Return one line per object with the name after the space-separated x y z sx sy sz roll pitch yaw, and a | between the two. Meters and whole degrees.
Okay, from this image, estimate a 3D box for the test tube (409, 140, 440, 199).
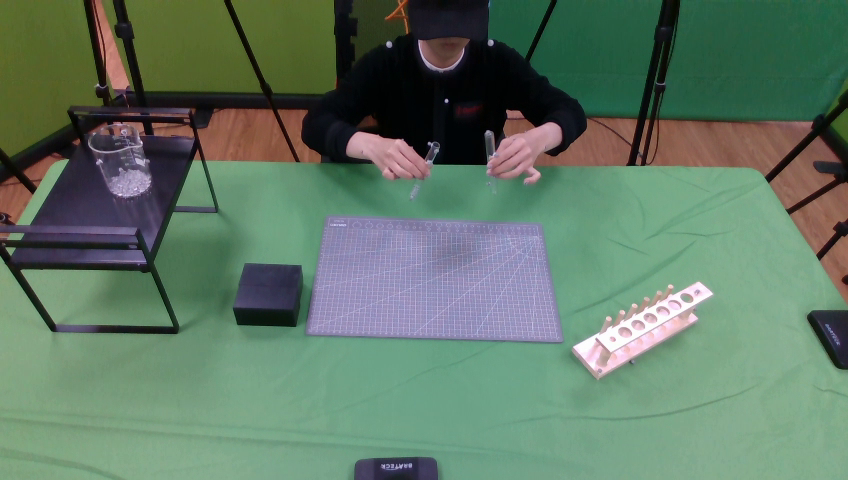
-0.001 -0.128 1.130 0.017 0.150 0.017 12 50 -14 | test tube

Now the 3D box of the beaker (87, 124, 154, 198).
-0.482 -0.124 0.978 0.084 0.101 0.073 9 46 4 | beaker

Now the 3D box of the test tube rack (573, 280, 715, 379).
0.378 0.140 1.038 0.242 0.085 0.066 -22 51 -23 | test tube rack

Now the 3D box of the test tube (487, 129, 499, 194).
0.126 -0.138 1.098 0.017 0.151 0.017 -5 49 6 | test tube
